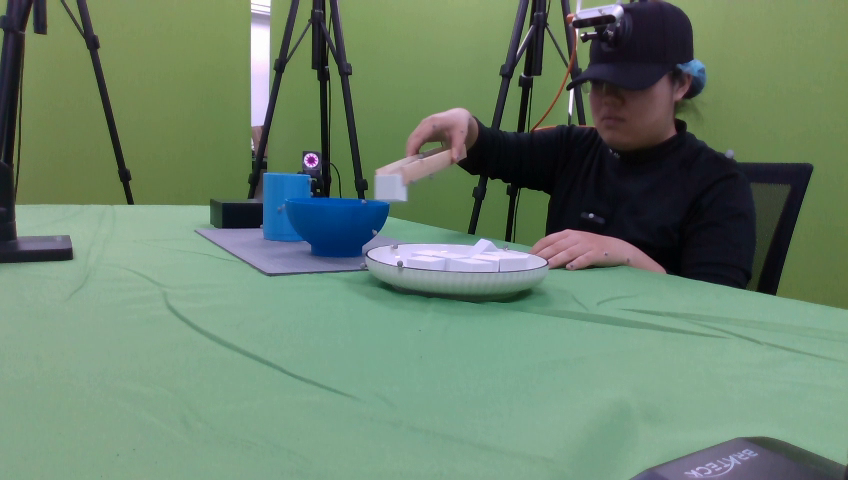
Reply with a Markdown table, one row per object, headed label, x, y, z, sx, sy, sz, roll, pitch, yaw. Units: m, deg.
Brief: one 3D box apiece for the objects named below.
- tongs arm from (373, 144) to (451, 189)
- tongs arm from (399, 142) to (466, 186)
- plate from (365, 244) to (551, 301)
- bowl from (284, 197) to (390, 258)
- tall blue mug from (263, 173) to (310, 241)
| label | x | y | z | sx | sy | sz | roll | pitch | yaw |
| --- | --- | --- | --- | --- | --- | --- | --- | --- | --- |
| tongs arm | -0.010 | -0.122 | 0.949 | 0.028 | 0.028 | 0.388 | -10 | 11 | 17 |
| tongs arm | 0.013 | -0.124 | 0.943 | 0.050 | 0.026 | 0.386 | -5 | 12 | 21 |
| plate | 0.038 | 0.035 | 0.685 | 0.209 | 0.038 | 0.209 | 2 | 7 | 0 |
| bowl | -0.125 | -0.018 | 0.870 | 0.151 | 0.077 | 0.151 | 3 | 7 | 0 |
| tall blue mug | -0.233 | -0.058 | 1.019 | 0.078 | 0.108 | 0.107 | -1 | 8 | -19 |
